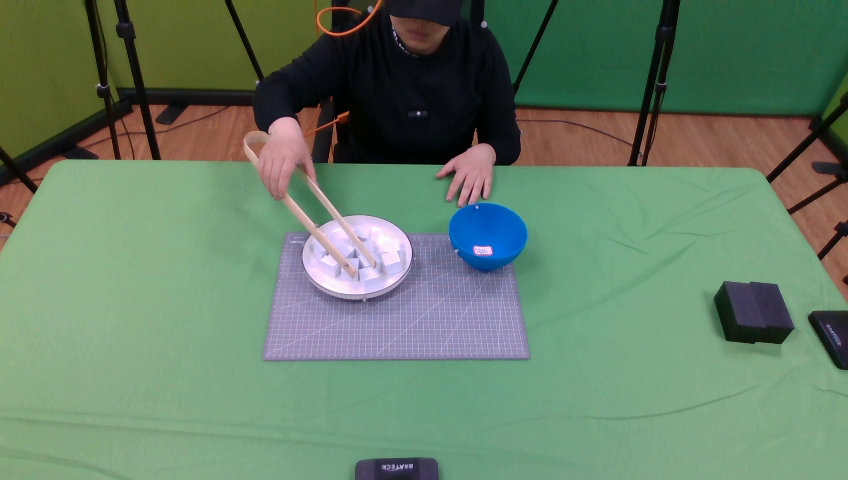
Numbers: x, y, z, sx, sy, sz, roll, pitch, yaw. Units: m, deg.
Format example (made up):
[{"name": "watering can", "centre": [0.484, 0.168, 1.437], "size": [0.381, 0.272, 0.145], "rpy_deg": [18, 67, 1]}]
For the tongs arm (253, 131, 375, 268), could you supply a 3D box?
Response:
[{"name": "tongs arm", "centre": [-0.212, -0.084, 1.147], "size": [0.028, 0.028, 0.385], "rpy_deg": [-30, 64, -29]}]

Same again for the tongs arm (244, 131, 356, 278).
[{"name": "tongs arm", "centre": [-0.233, -0.074, 1.132], "size": [0.051, 0.026, 0.383], "rpy_deg": [-31, 65, -33]}]

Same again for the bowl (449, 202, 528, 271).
[{"name": "bowl", "centre": [0.118, 0.006, 1.160], "size": [0.151, 0.077, 0.150], "rpy_deg": [2, 46, -2]}]

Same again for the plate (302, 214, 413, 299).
[{"name": "plate", "centre": [-0.124, 0.033, 1.143], "size": [0.208, 0.039, 0.206], "rpy_deg": [2, 46, -2]}]
